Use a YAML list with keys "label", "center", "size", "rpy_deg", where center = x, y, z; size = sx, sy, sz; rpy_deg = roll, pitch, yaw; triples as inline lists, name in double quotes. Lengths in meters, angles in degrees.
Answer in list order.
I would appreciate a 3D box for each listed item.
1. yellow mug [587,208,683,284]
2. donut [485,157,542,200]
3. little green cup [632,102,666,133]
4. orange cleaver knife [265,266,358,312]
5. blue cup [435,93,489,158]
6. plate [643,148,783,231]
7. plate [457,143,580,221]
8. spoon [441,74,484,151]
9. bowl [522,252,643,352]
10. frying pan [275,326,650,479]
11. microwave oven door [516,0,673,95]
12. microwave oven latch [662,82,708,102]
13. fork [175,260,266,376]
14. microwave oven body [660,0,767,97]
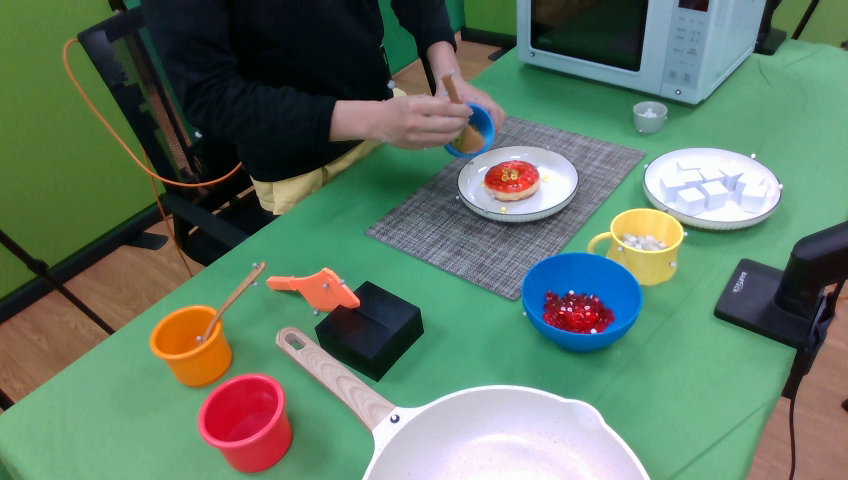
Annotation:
- label: "yellow mug"
  center: [0.305, 0.009, 0.884]
  size: [0.131, 0.064, 0.099]
  rpy_deg: [-4, 41, 5]
- label: "donut"
  center: [0.153, -0.107, 1.039]
  size: [0.099, 0.048, 0.098]
  rpy_deg: [-6, 38, 5]
- label: "little green cup"
  center: [0.434, -0.237, 1.171]
  size: [0.061, 0.039, 0.061]
  rpy_deg: [-5, 40, 5]
- label: "orange cleaver knife"
  center: [-0.164, 0.073, 0.864]
  size: [0.210, 0.077, 0.012]
  rpy_deg: [-6, 30, 50]
- label: "blue cup"
  center: [0.064, -0.177, 1.000]
  size: [0.092, 0.100, 0.092]
  rpy_deg: [0, 83, 4]
- label: "plate"
  center: [0.464, -0.080, 0.986]
  size: [0.207, 0.039, 0.206]
  rpy_deg: [-4, 40, 4]
- label: "plate"
  center: [0.162, -0.097, 1.042]
  size: [0.209, 0.038, 0.208]
  rpy_deg: [-4, 40, 4]
- label: "spoon"
  center: [0.050, -0.174, 0.850]
  size: [0.041, 0.195, 0.021]
  rpy_deg: [-16, 63, 11]
- label: "bowl"
  center: [0.204, 0.093, 0.792]
  size: [0.151, 0.077, 0.150]
  rpy_deg: [-4, 40, 4]
- label: "frying pan"
  center: [0.003, 0.229, 0.641]
  size: [0.484, 0.103, 0.308]
  rpy_deg: [34, 54, 28]
- label: "microwave oven door"
  center: [0.344, -0.458, 1.256]
  size: [0.353, 0.245, 0.039]
  rpy_deg: [26, 52, 33]
- label: "microwave oven latch"
  center: [0.518, -0.298, 1.203]
  size: [0.078, 0.029, 0.030]
  rpy_deg: [28, 53, 35]
- label: "fork"
  center: [-0.268, 0.103, 0.792]
  size: [0.207, 0.019, 0.028]
  rpy_deg: [-51, 41, 16]
- label: "microwave oven body"
  center: [0.473, -0.516, 1.313]
  size: [0.438, 0.261, 0.327]
  rpy_deg: [26, 51, 34]
